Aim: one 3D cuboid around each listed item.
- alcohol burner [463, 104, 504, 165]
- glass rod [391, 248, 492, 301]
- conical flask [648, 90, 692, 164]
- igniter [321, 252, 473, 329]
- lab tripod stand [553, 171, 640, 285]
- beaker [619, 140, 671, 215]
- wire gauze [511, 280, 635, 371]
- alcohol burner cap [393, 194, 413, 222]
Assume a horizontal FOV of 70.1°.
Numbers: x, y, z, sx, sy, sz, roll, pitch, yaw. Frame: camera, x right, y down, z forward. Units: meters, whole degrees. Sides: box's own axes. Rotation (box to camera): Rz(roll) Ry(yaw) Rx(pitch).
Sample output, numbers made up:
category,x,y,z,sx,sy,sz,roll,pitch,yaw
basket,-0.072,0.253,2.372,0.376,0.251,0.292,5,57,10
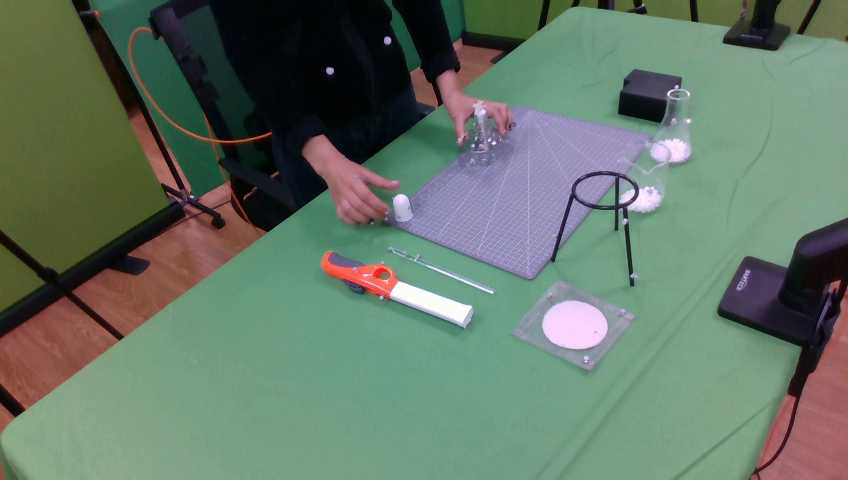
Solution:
category,x,y,z,sx,sy,sz,roll,pitch,yaw
alcohol burner,0.109,-0.201,1.126,0.078,0.119,0.077,-5,42,5
glass rod,0.023,0.050,0.935,0.198,0.008,0.008,25,52,32
conical flask,0.437,-0.199,1.057,0.075,0.122,0.075,-5,40,5
igniter,-0.051,0.071,0.906,0.274,0.025,0.057,19,58,29
lab tripod stand,0.260,-0.025,0.877,0.148,0.132,0.147,-6,38,5
beaker,0.352,-0.096,0.971,0.074,0.101,0.084,1,42,13
wire gauze,0.203,0.114,0.822,0.120,0.011,0.125,25,52,35
alcohol burner cap,-0.038,-0.057,1.038,0.034,0.048,0.033,-5,41,5
